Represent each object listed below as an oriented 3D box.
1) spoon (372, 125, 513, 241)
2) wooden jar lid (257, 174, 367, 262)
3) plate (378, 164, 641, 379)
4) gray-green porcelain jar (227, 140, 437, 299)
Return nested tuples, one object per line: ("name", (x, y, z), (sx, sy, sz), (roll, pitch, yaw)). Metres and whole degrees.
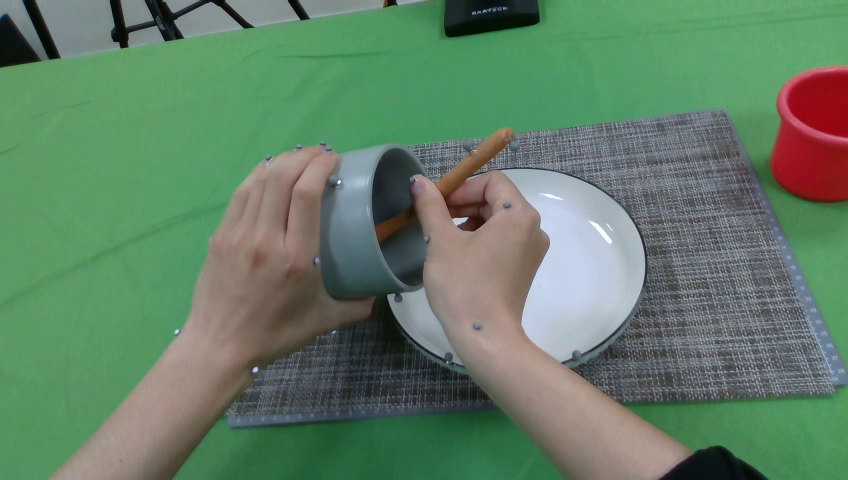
("spoon", (-0.015, -0.021, 0.420), (0.194, 0.022, 0.041), (-33, 56, 27))
("wooden jar lid", (-0.106, -0.021, 0.583), (0.108, 0.021, 0.107), (-6, 49, 7))
("plate", (0.066, 0.023, 0.493), (0.207, 0.039, 0.205), (-6, 50, 8))
("gray-green porcelain jar", (-0.069, -0.011, 0.445), (0.126, 0.107, 0.105), (-6, 48, 24))
